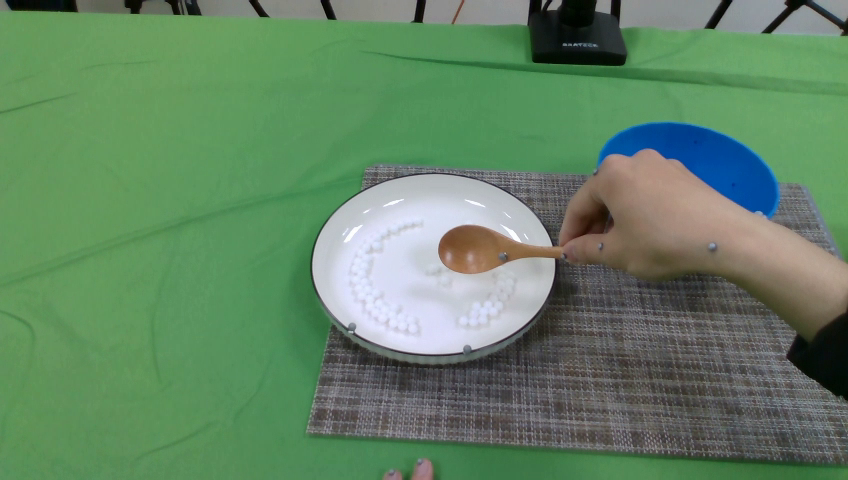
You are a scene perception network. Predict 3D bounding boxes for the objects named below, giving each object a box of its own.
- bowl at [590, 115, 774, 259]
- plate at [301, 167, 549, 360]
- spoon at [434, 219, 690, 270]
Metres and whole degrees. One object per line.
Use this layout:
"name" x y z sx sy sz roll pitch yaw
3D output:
"bowl" 0.219 -0.036 0.545 0.151 0.077 0.150 0 48 0
"plate" 0.001 0.018 0.523 0.208 0.039 0.205 0 48 0
"spoon" 0.094 0.006 0.453 0.192 0.041 0.022 2 1 33
